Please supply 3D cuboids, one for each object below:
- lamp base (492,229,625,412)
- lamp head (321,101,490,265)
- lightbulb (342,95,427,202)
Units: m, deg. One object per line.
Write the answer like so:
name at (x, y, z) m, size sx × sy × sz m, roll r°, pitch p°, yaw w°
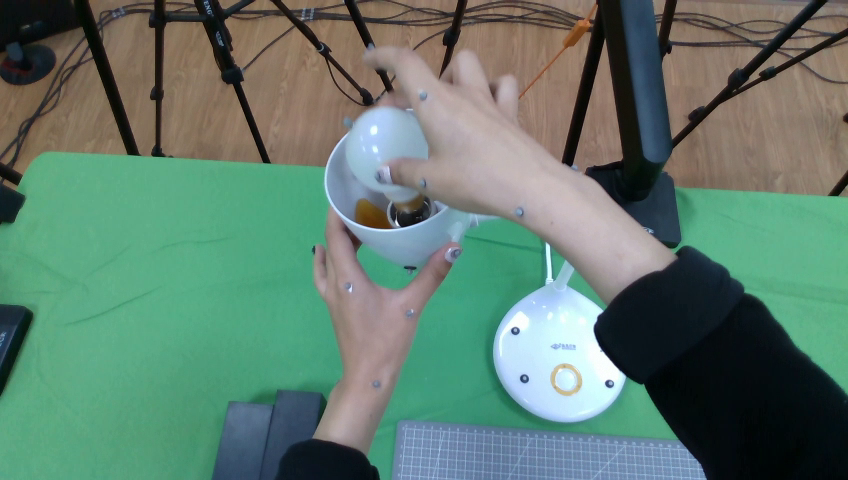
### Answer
lamp base at (0.158, 0.081, 0.672) m, size 0.161 × 0.182 × 0.177 m, roll -8°, pitch 60°, yaw -4°
lamp head at (-0.007, -0.033, 0.490) m, size 0.112 × 0.124 × 0.111 m, roll -8°, pitch 61°, yaw 15°
lightbulb at (-0.023, -0.061, 0.447) m, size 0.059 × 0.108 × 0.059 m, roll -4°, pitch 64°, yaw 9°
